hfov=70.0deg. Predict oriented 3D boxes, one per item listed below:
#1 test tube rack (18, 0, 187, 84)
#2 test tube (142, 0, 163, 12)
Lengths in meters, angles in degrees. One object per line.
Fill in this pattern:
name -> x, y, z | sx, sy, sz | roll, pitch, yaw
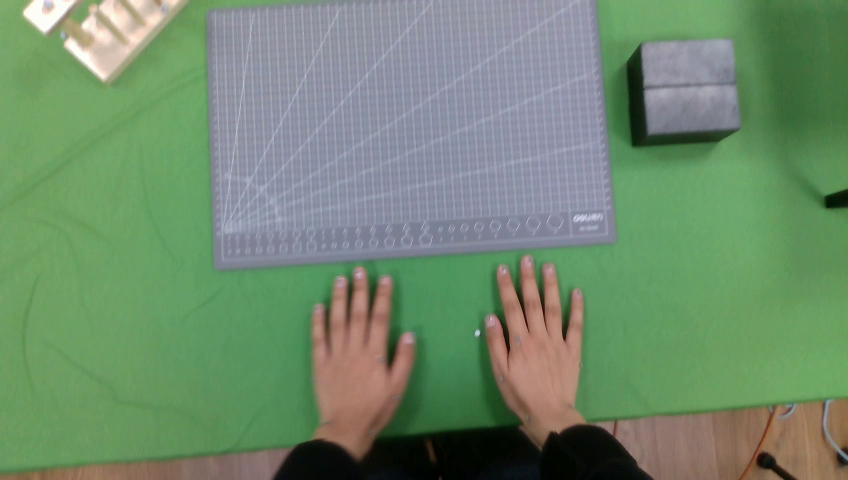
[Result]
test tube rack -> -0.310, -0.294, 0.665 | 0.066, 0.085, 0.242 | 41, 85, 4
test tube -> -0.305, -0.278, 0.618 | 0.017, 0.151, 0.017 | 0, 81, 0
